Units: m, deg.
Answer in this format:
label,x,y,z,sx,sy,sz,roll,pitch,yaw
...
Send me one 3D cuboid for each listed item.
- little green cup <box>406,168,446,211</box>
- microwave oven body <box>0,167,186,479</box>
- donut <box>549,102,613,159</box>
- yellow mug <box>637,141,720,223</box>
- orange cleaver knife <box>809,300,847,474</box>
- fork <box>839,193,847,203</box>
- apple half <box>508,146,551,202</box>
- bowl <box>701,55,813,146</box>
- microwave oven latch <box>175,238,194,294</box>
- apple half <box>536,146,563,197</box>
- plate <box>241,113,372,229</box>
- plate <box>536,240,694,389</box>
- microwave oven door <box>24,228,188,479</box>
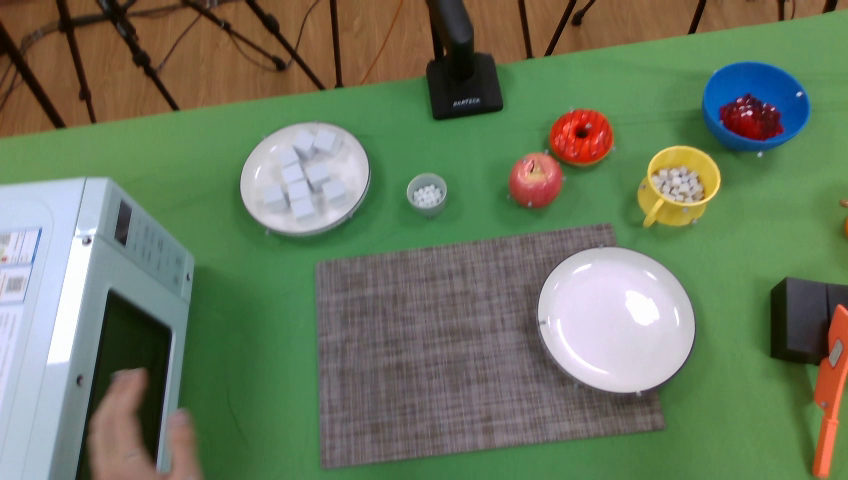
label,x,y,z,sx,sy,sz,roll,pitch,yaw
little green cup,0.005,-0.076,0.934,0.061,0.039,0.061,-2,65,5
microwave oven body,-0.508,0.171,0.742,0.326,0.262,0.438,-4,66,3
donut,0.247,-0.172,0.952,0.099,0.048,0.098,-2,68,6
yellow mug,0.360,-0.075,0.885,0.099,0.064,0.130,38,75,20
orange cleaver knife,0.499,0.180,0.748,0.012,0.077,0.211,10,97,13
fork,0.593,-0.043,0.803,0.209,0.018,0.028,9,58,-39
apple half,0.154,-0.093,0.909,0.053,0.075,0.080,-17,69,3
bowl,0.491,-0.196,0.921,0.151,0.077,0.150,-2,66,5
microwave oven latch,-0.360,0.039,0.894,0.030,0.030,0.078,-2,66,4
apple half,0.191,-0.104,0.909,0.033,0.082,0.080,-17,65,3
plate,-0.184,-0.107,0.964,0.207,0.039,0.206,-2,65,4
plate,0.256,0.101,0.826,0.209,0.038,0.207,-2,65,5
microwave oven door,-0.361,0.195,0.711,0.039,0.246,0.353,-5,65,3
